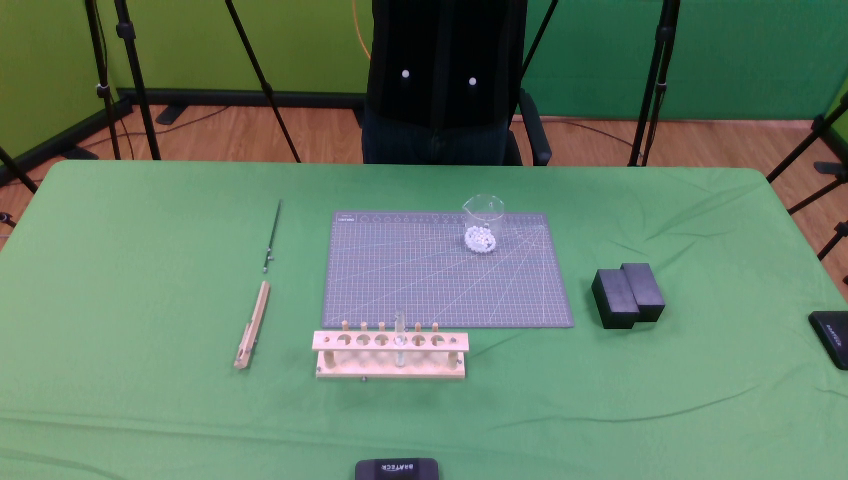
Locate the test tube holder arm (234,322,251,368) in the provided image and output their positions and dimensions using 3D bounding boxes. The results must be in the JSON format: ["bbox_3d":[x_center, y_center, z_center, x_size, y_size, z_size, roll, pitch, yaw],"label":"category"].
[{"bbox_3d":[-0.299,0.173,1.013,0.010,0.015,0.087,-17,41,22],"label":"test tube holder arm"}]

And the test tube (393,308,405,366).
[{"bbox_3d":[-0.038,0.153,0.935,0.017,0.151,0.017,1,49,-1],"label":"test tube"}]

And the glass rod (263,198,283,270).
[{"bbox_3d":[-0.298,-0.017,1.202,0.008,0.008,0.198,1,46,-2],"label":"glass rod"}]

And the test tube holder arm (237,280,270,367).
[{"bbox_3d":[-0.291,0.140,1.042,0.013,0.015,0.177,-17,41,22],"label":"test tube holder arm"}]

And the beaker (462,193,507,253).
[{"bbox_3d":[0.113,-0.030,1.177,0.084,0.101,0.073,6,46,3],"label":"beaker"}]

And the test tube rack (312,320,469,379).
[{"bbox_3d":[-0.054,0.173,0.984,0.242,0.085,0.066,1,46,-3],"label":"test tube rack"}]
